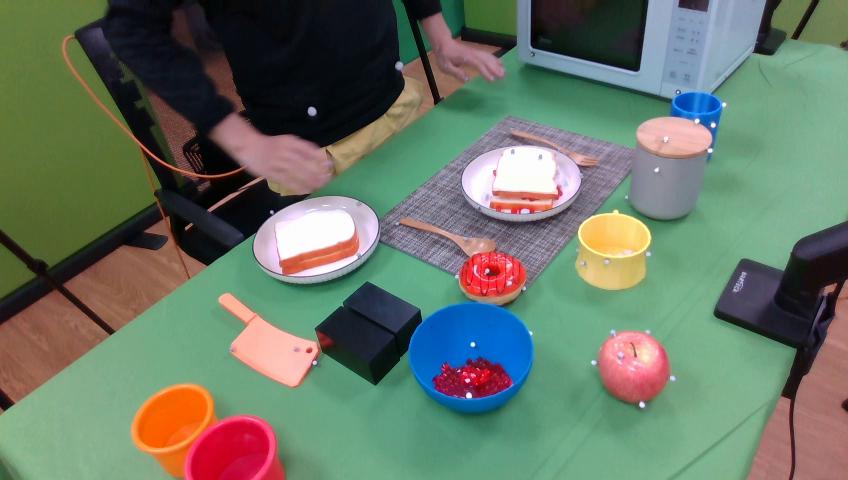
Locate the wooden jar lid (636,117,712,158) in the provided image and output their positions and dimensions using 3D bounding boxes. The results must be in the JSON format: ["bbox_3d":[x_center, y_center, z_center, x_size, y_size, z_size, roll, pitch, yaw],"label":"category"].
[{"bbox_3d":[0.377,-0.151,0.917,0.108,0.021,0.108,-2,42,3],"label":"wooden jar lid"}]

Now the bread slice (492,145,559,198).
[{"bbox_3d":[0.172,-0.118,1.027,0.107,0.018,0.134,3,43,7],"label":"bread slice"}]

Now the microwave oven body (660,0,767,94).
[{"bbox_3d":[0.473,-0.516,1.313,0.438,0.261,0.327,26,51,34],"label":"microwave oven body"}]

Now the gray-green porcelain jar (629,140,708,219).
[{"bbox_3d":[0.383,-0.104,0.958,0.106,0.127,0.105,-4,41,4],"label":"gray-green porcelain jar"}]

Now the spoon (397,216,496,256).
[{"bbox_3d":[0.033,-0.011,0.972,0.192,0.022,0.041,23,71,29],"label":"spoon"}]

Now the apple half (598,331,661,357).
[{"bbox_3d":[0.249,0.134,0.738,0.081,0.081,0.032,-1,46,7],"label":"apple half"}]

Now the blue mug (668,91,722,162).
[{"bbox_3d":[0.474,-0.207,1.078,0.082,0.106,0.116,4,42,13],"label":"blue mug"}]

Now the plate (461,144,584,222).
[{"bbox_3d":[0.168,-0.095,1.040,0.207,0.039,0.206,-4,40,4],"label":"plate"}]

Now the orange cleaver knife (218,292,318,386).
[{"bbox_3d":[-0.235,0.136,0.850,0.209,0.012,0.077,25,57,30],"label":"orange cleaver knife"}]

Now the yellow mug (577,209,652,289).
[{"bbox_3d":[0.279,0.004,0.893,0.099,0.064,0.130,5,41,15],"label":"yellow mug"}]

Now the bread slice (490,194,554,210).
[{"bbox_3d":[0.173,-0.099,1.047,0.104,0.019,0.131,2,43,12],"label":"bread slice"}]

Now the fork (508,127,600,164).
[{"bbox_3d":[0.240,-0.180,1.142,0.205,0.019,0.028,32,62,34],"label":"fork"}]

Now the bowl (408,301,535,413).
[{"bbox_3d":[0.060,0.156,0.739,0.151,0.077,0.150,-4,40,4],"label":"bowl"}]

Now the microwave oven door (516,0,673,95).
[{"bbox_3d":[0.344,-0.458,1.256,0.353,0.245,0.039,26,51,33],"label":"microwave oven door"}]

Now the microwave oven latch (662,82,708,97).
[{"bbox_3d":[0.517,-0.298,1.202,0.078,0.029,0.030,27,52,34],"label":"microwave oven latch"}]

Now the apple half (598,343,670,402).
[{"bbox_3d":[0.247,0.161,0.710,0.081,0.075,0.053,2,47,5],"label":"apple half"}]

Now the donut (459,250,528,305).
[{"bbox_3d":[0.100,0.053,0.872,0.099,0.048,0.098,-5,41,4],"label":"donut"}]

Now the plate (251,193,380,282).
[{"bbox_3d":[-0.174,-0.001,0.984,0.209,0.038,0.208,-4,41,4],"label":"plate"}]
